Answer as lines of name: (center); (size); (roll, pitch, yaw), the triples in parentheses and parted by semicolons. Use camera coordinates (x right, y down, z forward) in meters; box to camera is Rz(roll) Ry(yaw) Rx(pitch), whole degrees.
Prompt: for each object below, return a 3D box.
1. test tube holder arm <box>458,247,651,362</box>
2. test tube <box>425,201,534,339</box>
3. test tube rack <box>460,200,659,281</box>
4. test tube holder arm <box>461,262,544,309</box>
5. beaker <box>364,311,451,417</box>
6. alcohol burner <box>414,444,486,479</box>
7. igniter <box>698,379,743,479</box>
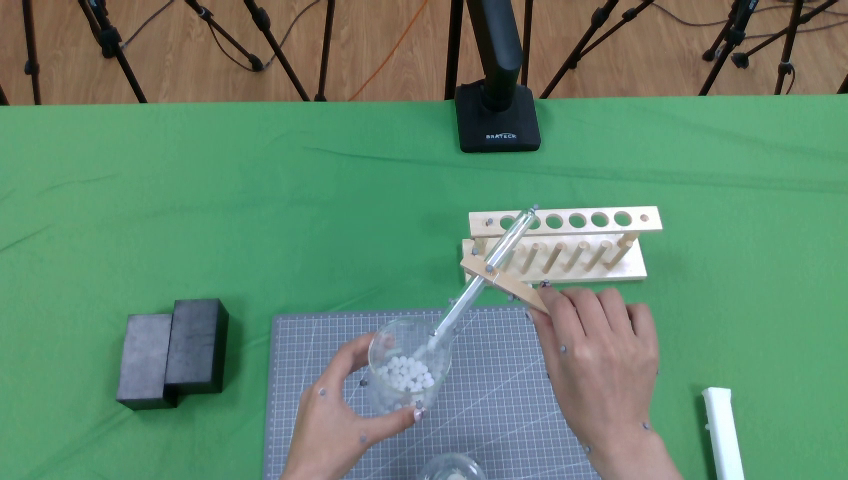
test tube holder arm: (0.106, 0.052, 0.515); (0.177, 0.013, 0.015); (29, 80, 23)
test tube: (0.051, 0.026, 0.546); (0.017, 0.017, 0.150); (36, 84, 14)
test tube rack: (0.173, 0.001, 0.786); (0.243, 0.086, 0.066); (-2, 63, -5)
test tube holder arm: (0.072, 0.035, 0.539); (0.087, 0.010, 0.015); (28, 79, 30)
beaker: (-0.018, 0.120, 0.574); (0.084, 0.101, 0.073); (-26, 66, -22)
alcohol burner: (0.029, 0.250, 0.633); (0.078, 0.120, 0.077); (2, 61, -3)
igniter: (0.347, 0.296, 0.683); (0.057, 0.025, 0.274); (8, 63, -11)
